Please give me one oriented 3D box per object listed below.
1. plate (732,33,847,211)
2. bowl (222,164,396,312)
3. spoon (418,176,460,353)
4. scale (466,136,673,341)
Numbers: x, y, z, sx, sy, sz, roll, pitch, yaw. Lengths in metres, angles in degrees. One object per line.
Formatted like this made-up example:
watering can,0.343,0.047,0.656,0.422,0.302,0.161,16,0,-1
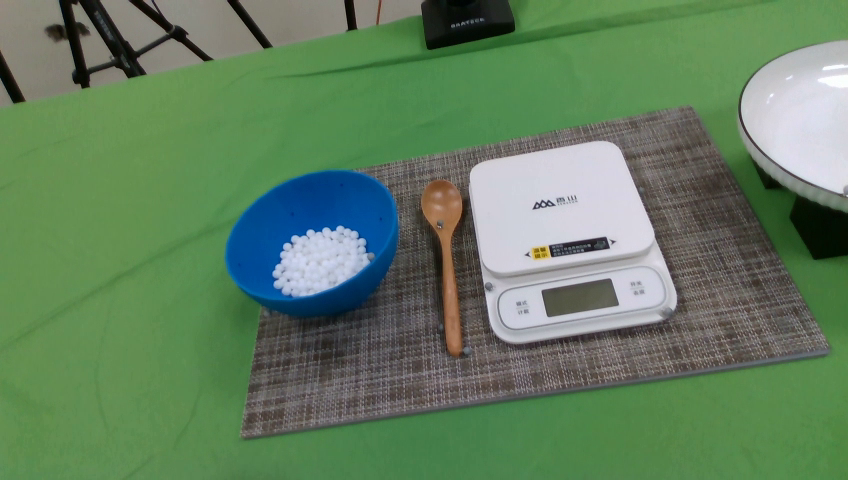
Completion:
plate,0.355,-0.091,0.479,0.209,0.038,0.207,-7,49,8
bowl,-0.091,0.011,0.538,0.151,0.077,0.150,-7,49,8
spoon,0.018,0.014,0.546,0.042,0.022,0.191,1,48,-4
scale,0.119,-0.010,0.535,0.148,0.032,0.199,-10,49,6
